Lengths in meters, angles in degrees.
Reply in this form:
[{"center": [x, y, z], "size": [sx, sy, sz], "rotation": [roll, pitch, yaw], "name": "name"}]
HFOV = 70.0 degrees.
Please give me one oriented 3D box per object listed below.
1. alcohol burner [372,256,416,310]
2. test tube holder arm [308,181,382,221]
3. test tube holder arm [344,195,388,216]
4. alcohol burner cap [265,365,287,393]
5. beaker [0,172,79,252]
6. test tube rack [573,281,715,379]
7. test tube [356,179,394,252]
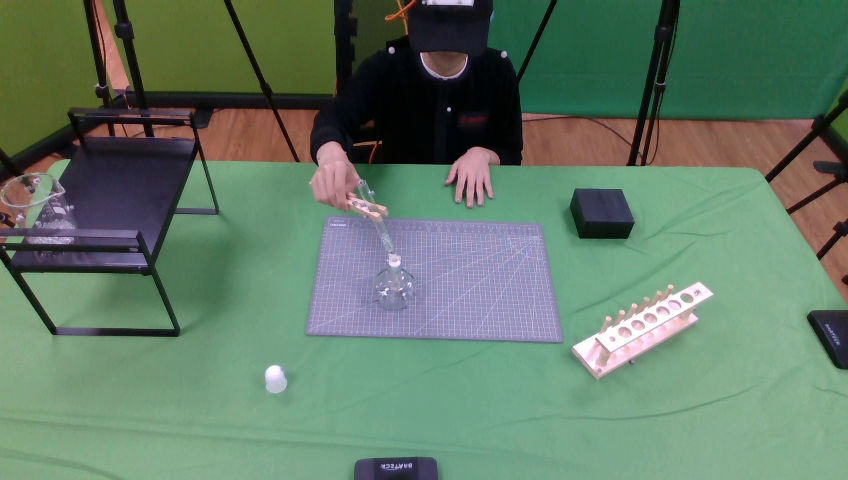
[{"center": [-0.052, 0.068, 1.057], "size": [0.078, 0.120, 0.077], "rotation": [1, 48, -1], "name": "alcohol burner"}, {"center": [-0.133, -0.065, 0.987], "size": [0.177, 0.015, 0.013], "rotation": [24, 55, 36], "name": "test tube holder arm"}, {"center": [-0.095, -0.055, 0.964], "size": [0.087, 0.015, 0.010], "rotation": [17, 52, 32], "name": "test tube holder arm"}, {"center": [-0.236, 0.216, 0.956], "size": [0.034, 0.048, 0.033], "rotation": [3, 46, -3], "name": "alcohol burner cap"}, {"center": [-0.557, -0.038, 0.889], "size": [0.084, 0.101, 0.073], "rotation": [-3, 46, -7], "name": "beaker"}, {"center": [0.378, 0.140, 1.038], "size": [0.242, 0.085, 0.066], "rotation": [-22, 51, -23], "name": "test tube rack"}, {"center": [-0.076, -0.035, 0.959], "size": [0.017, 0.151, 0.017], "rotation": [-12, 42, 11], "name": "test tube"}]
